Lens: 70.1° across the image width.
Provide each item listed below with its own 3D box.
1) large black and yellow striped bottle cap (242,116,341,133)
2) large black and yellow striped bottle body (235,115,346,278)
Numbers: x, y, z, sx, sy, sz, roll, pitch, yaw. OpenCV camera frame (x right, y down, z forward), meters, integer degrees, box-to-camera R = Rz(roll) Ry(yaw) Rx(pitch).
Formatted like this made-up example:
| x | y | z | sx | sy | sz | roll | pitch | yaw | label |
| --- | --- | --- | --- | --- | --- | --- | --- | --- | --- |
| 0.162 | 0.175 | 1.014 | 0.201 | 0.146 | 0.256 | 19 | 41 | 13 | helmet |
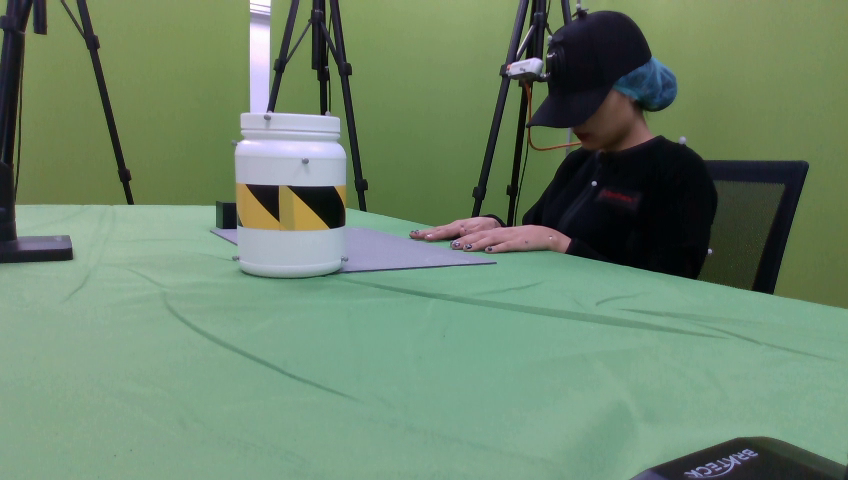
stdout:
| x | y | z | sx | sy | sz | roll | pitch | yaw | label |
| --- | --- | --- | --- | --- | --- | --- | --- | --- | --- |
| -0.157 | -0.137 | 0.718 | 0.115 | 0.019 | 0.115 | 1 | 10 | 0 | large black and yellow striped bottle cap |
| -0.160 | -0.055 | 0.732 | 0.131 | 0.184 | 0.130 | 2 | 9 | 0 | large black and yellow striped bottle body |
